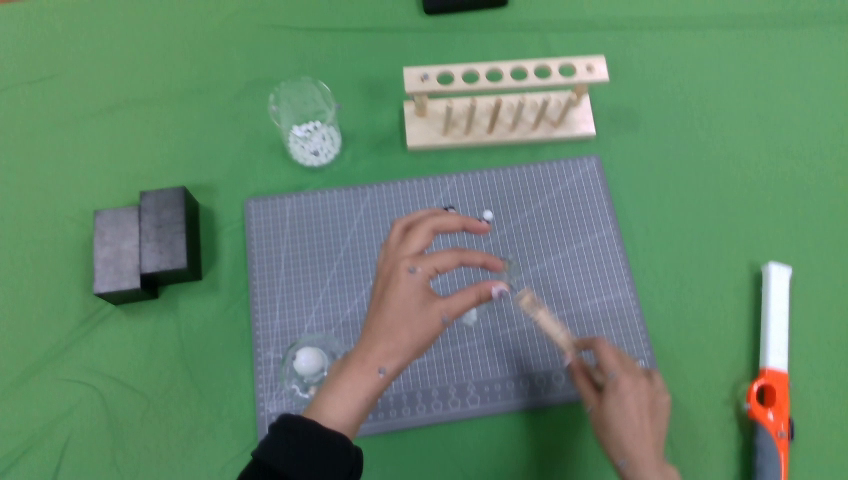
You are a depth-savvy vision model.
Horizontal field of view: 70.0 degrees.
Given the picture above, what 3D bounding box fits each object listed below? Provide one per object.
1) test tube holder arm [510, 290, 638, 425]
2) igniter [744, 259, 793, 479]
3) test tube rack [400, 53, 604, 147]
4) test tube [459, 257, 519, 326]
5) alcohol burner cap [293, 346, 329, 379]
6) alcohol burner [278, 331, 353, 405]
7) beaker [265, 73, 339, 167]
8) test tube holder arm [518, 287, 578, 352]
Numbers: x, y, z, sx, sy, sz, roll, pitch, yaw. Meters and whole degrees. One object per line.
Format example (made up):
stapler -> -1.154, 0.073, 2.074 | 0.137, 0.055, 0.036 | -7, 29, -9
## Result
test tube holder arm -> 0.155, 0.122, 0.633 | 0.013, 0.015, 0.177 | -34, 73, -23
igniter -> 0.389, 0.154, 0.683 | 0.057, 0.025, 0.275 | 15, 72, -7
test tube rack -> 0.093, -0.172, 0.751 | 0.242, 0.085, 0.066 | -4, 72, -3
test tube -> 0.055, 0.051, 0.543 | 0.017, 0.151, 0.017 | 4, 65, -9
alcohol burner cap -> -0.112, 0.119, 0.591 | 0.034, 0.048, 0.033 | 0, 76, -1
alcohol burner -> -0.114, 0.129, 0.626 | 0.078, 0.120, 0.077 | 1, 70, -3
beaker -> -0.141, -0.136, 0.724 | 0.074, 0.101, 0.083 | -5, 72, -3
test tube holder arm -> 0.130, 0.086, 0.647 | 0.010, 0.015, 0.087 | -34, 73, -23
